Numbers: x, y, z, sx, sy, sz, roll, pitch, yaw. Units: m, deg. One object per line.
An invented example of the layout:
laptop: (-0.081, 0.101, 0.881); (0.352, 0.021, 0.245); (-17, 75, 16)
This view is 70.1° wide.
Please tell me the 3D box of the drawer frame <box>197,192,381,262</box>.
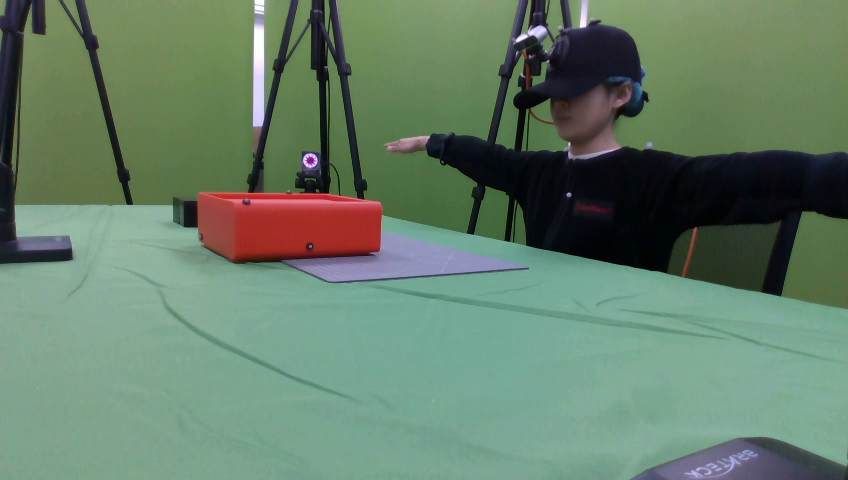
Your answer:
drawer frame: (-0.202, -0.026, 0.892); (0.215, 0.082, 0.200); (-3, 10, -34)

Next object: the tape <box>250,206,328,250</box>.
tape: (-0.202, -0.019, 0.902); (0.117, 0.052, 0.117); (3, 8, 0)

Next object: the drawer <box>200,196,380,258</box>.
drawer: (-0.200, -0.024, 0.894); (0.213, 0.073, 0.193); (-3, 10, -33)
